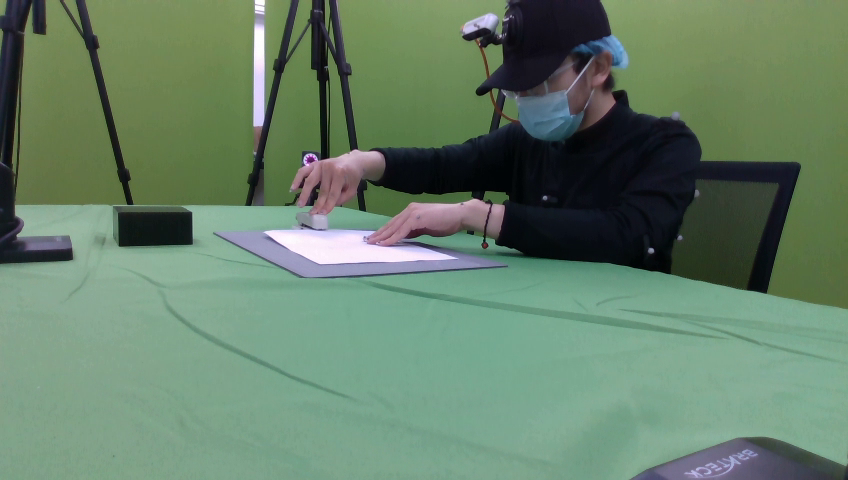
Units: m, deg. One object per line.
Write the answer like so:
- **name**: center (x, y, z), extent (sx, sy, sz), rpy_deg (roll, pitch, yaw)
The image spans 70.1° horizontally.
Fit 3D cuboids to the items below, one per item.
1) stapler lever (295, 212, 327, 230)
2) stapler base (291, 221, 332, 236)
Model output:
- **stapler lever**: center (-0.207, -0.039, 1.109), extent (0.027, 0.040, 0.117), rpy_deg (0, 17, -30)
- **stapler base**: center (-0.207, -0.025, 1.111), extent (0.041, 0.024, 0.130), rpy_deg (0, 5, -30)
